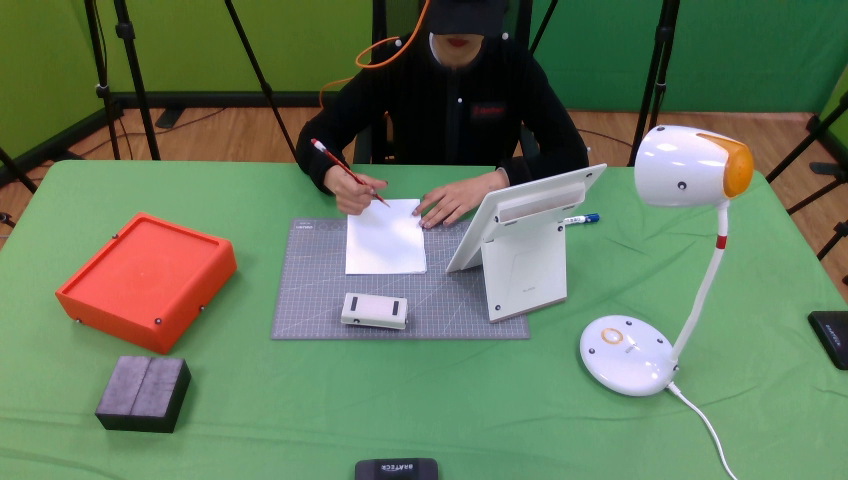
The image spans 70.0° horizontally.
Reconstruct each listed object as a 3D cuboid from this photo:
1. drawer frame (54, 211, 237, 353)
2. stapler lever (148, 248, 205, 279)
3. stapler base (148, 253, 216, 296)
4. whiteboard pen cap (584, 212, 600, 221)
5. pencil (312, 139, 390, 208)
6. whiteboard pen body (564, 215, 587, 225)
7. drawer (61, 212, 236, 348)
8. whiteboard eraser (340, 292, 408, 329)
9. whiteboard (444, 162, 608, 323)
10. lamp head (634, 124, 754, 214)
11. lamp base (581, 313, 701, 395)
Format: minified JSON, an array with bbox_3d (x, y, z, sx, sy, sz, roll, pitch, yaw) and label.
[{"bbox_3d":[-0.473,0.067,1.055,0.201,0.083,0.212,17,48,11],"label":"drawer frame"},{"bbox_3d":[-0.443,0.038,1.083,0.118,0.040,0.027,19,51,17],"label":"stapler lever"},{"bbox_3d":[-0.443,0.058,1.109,0.130,0.024,0.041,24,52,11],"label":"stapler base"},{"bbox_3d":[0.351,-0.048,1.271,0.033,0.018,0.018,-6,47,-11],"label":"whiteboard pen cap"},{"bbox_3d":[-0.137,-0.125,1.146,0.194,0.012,0.012,41,53,-1],"label":"pencil"},{"bbox_3d":[0.291,-0.040,1.261,0.141,0.017,0.017,-6,47,-11],"label":"whiteboard pen body"},{"bbox_3d":[-0.473,0.064,1.060,0.194,0.073,0.211,18,48,11],"label":"drawer"},{"bbox_3d":[-0.087,0.125,1.052,0.113,0.042,0.055,5,45,1],"label":"whiteboard eraser"},{"bbox_3d":[0.186,0.026,1.028,0.217,0.306,0.143,-14,68,-17],"label":"whiteboard"},{"bbox_3d":[0.351,-0.089,0.776,0.112,0.113,0.122,-30,30,-28],"label":"lamp head"},{"bbox_3d":[0.361,0.144,0.973,0.178,0.181,0.160,34,53,23],"label":"lamp base"}]
